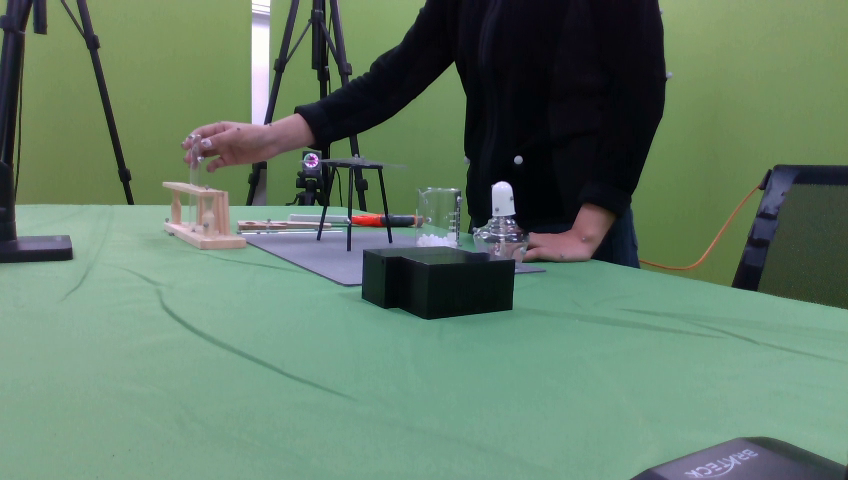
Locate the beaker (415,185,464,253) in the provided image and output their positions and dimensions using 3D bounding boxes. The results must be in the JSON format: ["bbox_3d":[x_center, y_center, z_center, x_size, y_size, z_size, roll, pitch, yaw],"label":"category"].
[{"bbox_3d":[0.020,-0.033,0.937,0.073,0.100,0.084,7,9,36],"label":"beaker"}]

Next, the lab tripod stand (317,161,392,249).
[{"bbox_3d":[-0.111,-0.059,0.963,0.148,0.131,0.148,4,8,0],"label":"lab tripod stand"}]

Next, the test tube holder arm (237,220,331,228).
[{"bbox_3d":[-0.261,-0.029,1.140,0.179,0.015,0.013,-2,41,-32],"label":"test tube holder arm"}]

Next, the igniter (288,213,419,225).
[{"bbox_3d":[-0.145,-0.044,1.278,0.278,0.025,0.057,-1,-2,-21],"label":"igniter"}]

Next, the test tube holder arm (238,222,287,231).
[{"bbox_3d":[-0.297,-0.024,1.112,0.088,0.015,0.010,-1,41,-32],"label":"test tube holder arm"}]

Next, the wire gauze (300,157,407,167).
[{"bbox_3d":[-0.112,-0.125,0.957,0.121,0.011,0.126,11,11,42],"label":"wire gauze"}]

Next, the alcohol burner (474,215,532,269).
[{"bbox_3d":[0.107,-0.022,0.818,0.078,0.119,0.078,1,9,0],"label":"alcohol burner"}]

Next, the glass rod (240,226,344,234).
[{"bbox_3d":[-0.239,-0.019,1.118,0.201,0.008,0.008,-3,9,-33],"label":"glass rod"}]

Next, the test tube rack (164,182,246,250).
[{"bbox_3d":[-0.361,-0.045,0.982,0.067,0.085,0.241,-3,9,-34],"label":"test tube rack"}]

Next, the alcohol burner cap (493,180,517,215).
[{"bbox_3d":[0.107,-0.057,0.812,0.034,0.048,0.034,-7,11,2],"label":"alcohol burner cap"}]

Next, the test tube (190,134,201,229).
[{"bbox_3d":[-0.362,-0.092,0.959,0.017,0.150,0.017,2,3,0],"label":"test tube"}]
